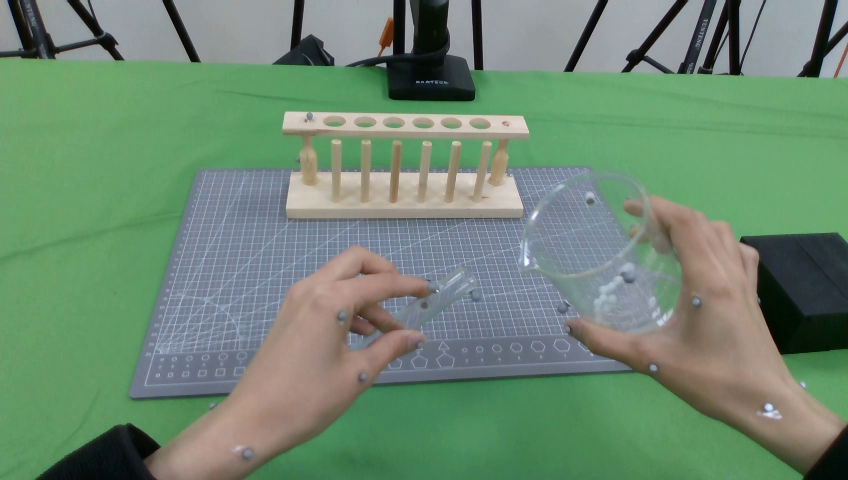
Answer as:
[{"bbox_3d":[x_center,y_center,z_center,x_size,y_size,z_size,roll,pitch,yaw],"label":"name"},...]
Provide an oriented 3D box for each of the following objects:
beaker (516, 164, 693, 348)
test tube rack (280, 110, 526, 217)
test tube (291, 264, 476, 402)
[{"bbox_3d":[0.112,0.016,0.368,0.084,0.101,0.073,-35,39,14],"label":"beaker"},{"bbox_3d":[-0.020,-0.078,0.618,0.243,0.086,0.066,0,41,-7],"label":"test tube rack"},{"bbox_3d":[-0.030,0.061,0.380,0.150,0.017,0.017,-37,38,19],"label":"test tube"}]
